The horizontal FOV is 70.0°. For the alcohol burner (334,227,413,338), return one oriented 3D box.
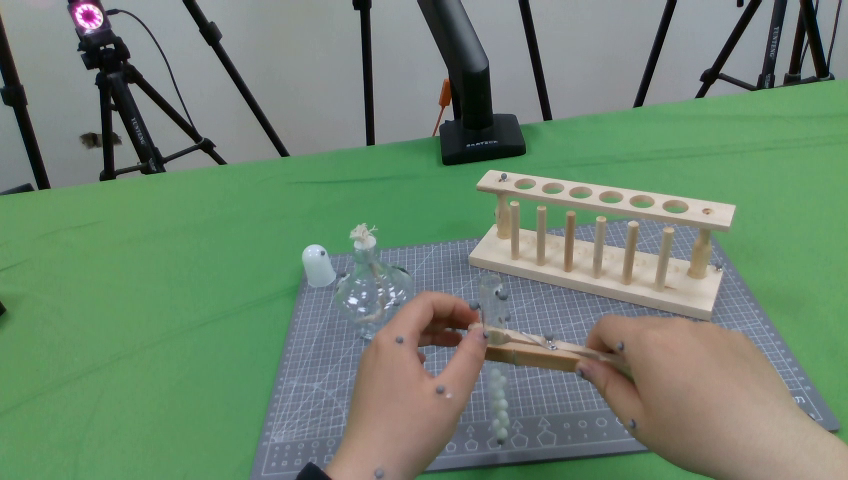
[{"bbox_3d":[-0.051,0.036,0.573,0.078,0.120,0.077,-5,37,4],"label":"alcohol burner"}]

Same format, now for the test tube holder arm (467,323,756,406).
[{"bbox_3d":[0.112,0.077,0.386,0.177,0.015,0.013,9,42,22],"label":"test tube holder arm"}]

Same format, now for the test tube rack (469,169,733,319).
[{"bbox_3d":[0.163,-0.003,0.600,0.240,0.086,0.066,13,41,28],"label":"test tube rack"}]

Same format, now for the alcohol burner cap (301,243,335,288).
[{"bbox_3d":[-0.118,0.025,0.666,0.034,0.048,0.033,-5,37,4],"label":"alcohol burner cap"}]

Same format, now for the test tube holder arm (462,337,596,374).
[{"bbox_3d":[0.068,0.076,0.398,0.087,0.015,0.010,3,40,16],"label":"test tube holder arm"}]

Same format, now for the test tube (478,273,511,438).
[{"bbox_3d":[0.050,0.086,0.419,0.017,0.151,0.017,-5,34,4],"label":"test tube"}]
